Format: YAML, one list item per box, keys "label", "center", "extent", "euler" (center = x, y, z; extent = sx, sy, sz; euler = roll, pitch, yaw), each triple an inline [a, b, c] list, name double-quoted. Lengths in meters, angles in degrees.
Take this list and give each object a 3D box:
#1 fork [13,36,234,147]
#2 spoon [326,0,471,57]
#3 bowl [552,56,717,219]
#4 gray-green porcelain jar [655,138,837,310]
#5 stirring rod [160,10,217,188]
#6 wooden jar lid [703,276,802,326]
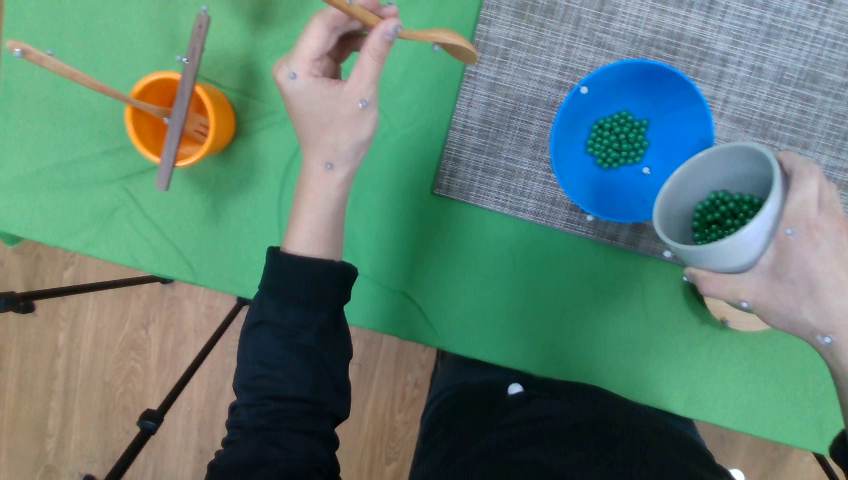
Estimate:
- label: "fork"
  center: [-0.280, -0.140, 0.587]
  extent: [0.028, 0.018, 0.209]
  euler: [-47, 140, 19]
- label: "spoon"
  center: [-0.022, -0.165, 0.457]
  extent: [0.041, 0.194, 0.022]
  euler: [23, 108, 31]
- label: "bowl"
  center: [0.198, -0.101, 0.598]
  extent: [0.151, 0.076, 0.152]
  euler: [1, 103, 4]
- label: "gray-green porcelain jar"
  center: [0.278, -0.007, 0.518]
  extent: [0.127, 0.105, 0.106]
  euler: [36, 104, -29]
- label: "stirring rod"
  center: [-0.228, -0.133, 0.583]
  extent: [0.014, 0.006, 0.176]
  euler: [20, 104, -1]
- label: "wooden jar lid"
  center: [0.355, 0.040, 0.651]
  extent: [0.108, 0.020, 0.109]
  euler: [2, 109, 6]
